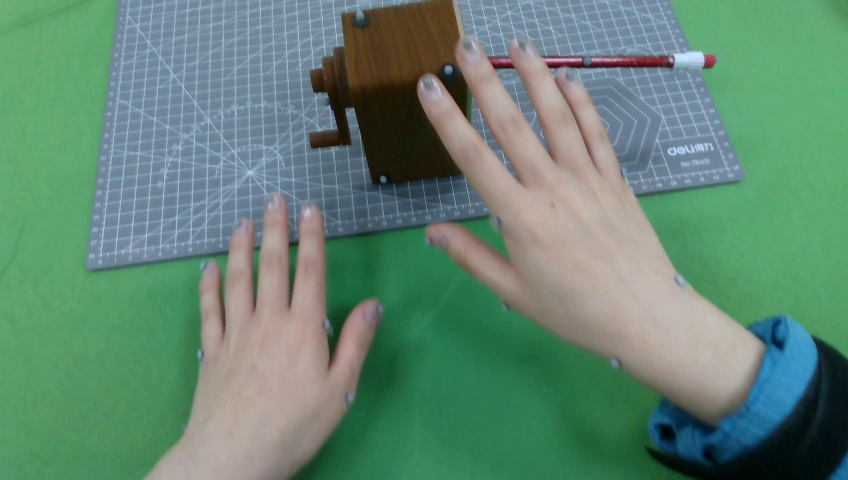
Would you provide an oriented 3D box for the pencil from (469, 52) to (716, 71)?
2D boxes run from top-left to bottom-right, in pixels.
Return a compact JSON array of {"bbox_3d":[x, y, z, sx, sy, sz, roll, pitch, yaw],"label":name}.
[{"bbox_3d":[0.089,-0.111,0.375,0.194,0.012,0.012,-2,64,-8],"label":"pencil"}]

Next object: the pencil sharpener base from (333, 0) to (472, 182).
[{"bbox_3d":[-0.012,-0.091,0.389,0.077,0.108,0.061,-8,64,-1],"label":"pencil sharpener base"}]

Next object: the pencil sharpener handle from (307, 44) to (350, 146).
[{"bbox_3d":[-0.063,-0.086,0.374,0.030,0.068,0.035,-8,49,-1],"label":"pencil sharpener handle"}]
